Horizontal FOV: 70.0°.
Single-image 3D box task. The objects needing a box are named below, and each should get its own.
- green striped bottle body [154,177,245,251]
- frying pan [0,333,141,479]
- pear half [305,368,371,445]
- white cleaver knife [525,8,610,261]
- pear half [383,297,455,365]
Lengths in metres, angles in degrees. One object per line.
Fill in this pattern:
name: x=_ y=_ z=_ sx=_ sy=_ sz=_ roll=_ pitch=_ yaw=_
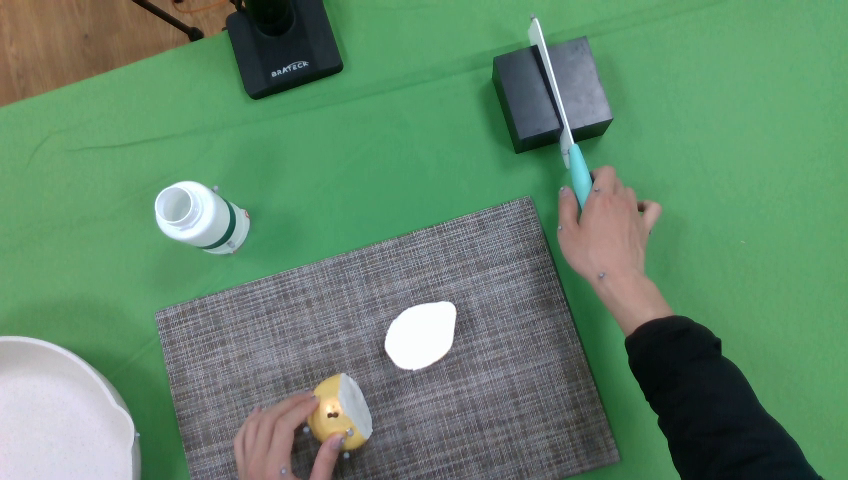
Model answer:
green striped bottle body: x=-0.243 y=-0.028 z=0.651 sx=0.063 sy=0.119 sz=0.063 roll=-1 pitch=80 yaw=4
frying pan: x=-0.398 y=0.337 z=0.611 sx=0.307 sy=0.103 sz=0.484 roll=-22 pitch=72 yaw=0
pear half: x=-0.094 y=0.173 z=0.612 sx=0.056 sy=0.110 sz=0.076 roll=-30 pitch=75 yaw=-1
white cleaver knife: x=0.156 y=-0.116 z=0.667 sx=0.021 sy=0.066 sz=0.285 roll=-15 pitch=85 yaw=7
pear half: x=-0.001 y=0.099 z=0.657 sx=0.088 sy=0.031 sz=0.070 roll=-39 pitch=64 yaw=-15
